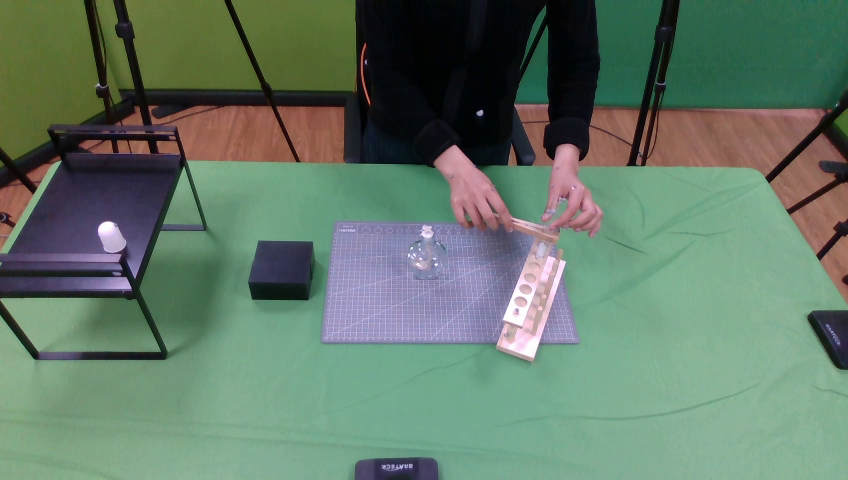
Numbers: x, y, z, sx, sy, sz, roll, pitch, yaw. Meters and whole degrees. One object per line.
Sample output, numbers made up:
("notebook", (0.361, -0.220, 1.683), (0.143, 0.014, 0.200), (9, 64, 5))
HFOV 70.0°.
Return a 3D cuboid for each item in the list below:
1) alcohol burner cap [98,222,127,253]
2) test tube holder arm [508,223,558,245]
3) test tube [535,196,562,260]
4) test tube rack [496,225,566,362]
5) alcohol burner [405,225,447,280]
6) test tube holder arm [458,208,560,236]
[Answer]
("alcohol burner cap", (-0.468, -0.007, 0.904), (0.034, 0.048, 0.033), (3, 46, -3))
("test tube holder arm", (0.188, -0.013, 1.046), (0.087, 0.015, 0.010), (21, 58, 10))
("test tube", (0.212, -0.017, 1.038), (0.017, 0.151, 0.017), (3, 48, -3))
("test tube rack", (0.200, 0.089, 1.081), (0.066, 0.085, 0.241), (19, 48, 13))
("alcohol burner", (0.005, 0.017, 1.115), (0.078, 0.120, 0.077), (1, 47, -1))
("test tube holder arm", (0.147, -0.030, 1.055), (0.178, 0.015, 0.013), (13, 56, 5))
